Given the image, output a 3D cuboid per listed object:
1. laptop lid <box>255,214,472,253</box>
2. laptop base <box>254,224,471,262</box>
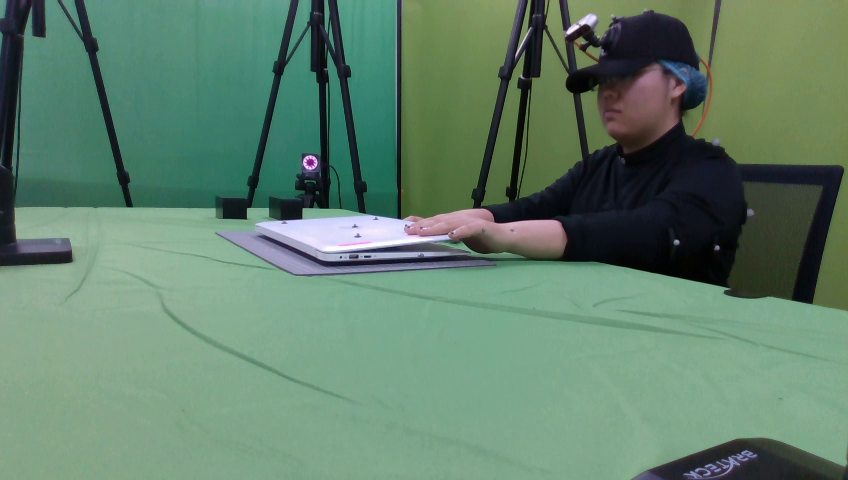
[{"bbox_3d":[-0.113,-0.017,0.970,0.243,0.013,0.355,-5,10,-28],"label":"laptop lid"},{"bbox_3d":[-0.116,0.005,0.972,0.237,0.023,0.352,2,6,-31],"label":"laptop base"}]
